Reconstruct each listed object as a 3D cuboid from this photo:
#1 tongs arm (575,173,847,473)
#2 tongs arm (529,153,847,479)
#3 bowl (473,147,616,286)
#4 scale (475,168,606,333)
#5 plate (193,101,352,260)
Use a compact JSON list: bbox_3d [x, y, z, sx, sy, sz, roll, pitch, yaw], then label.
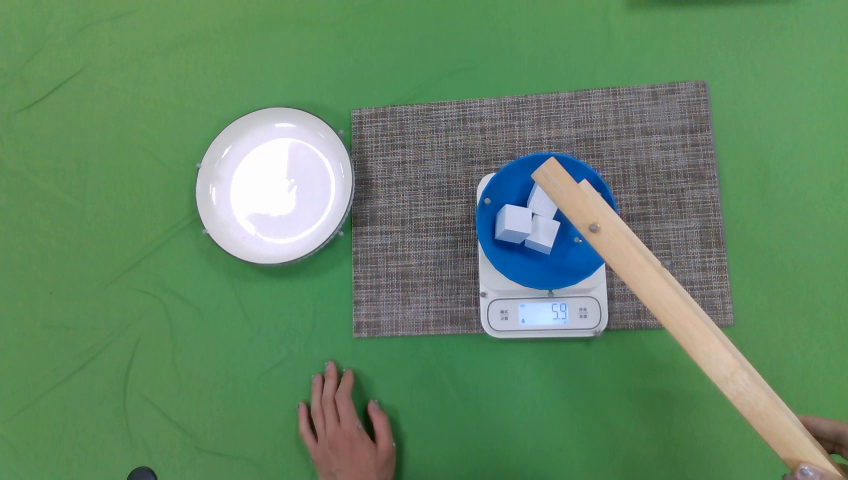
[{"bbox_3d":[0.248,0.082,0.531,0.026,0.051,0.382,-43,69,17],"label":"tongs arm"},{"bbox_3d":[0.218,0.079,0.469,0.028,0.028,0.386,-43,79,13],"label":"tongs arm"},{"bbox_3d":[0.131,-0.020,0.676,0.151,0.077,0.151,-1,81,6],"label":"bowl"},{"bbox_3d":[0.137,0.009,0.724,0.148,0.032,0.200,-2,81,7],"label":"scale"},{"bbox_3d":[-0.192,-0.075,0.780,0.207,0.039,0.207,-1,81,7],"label":"plate"}]
